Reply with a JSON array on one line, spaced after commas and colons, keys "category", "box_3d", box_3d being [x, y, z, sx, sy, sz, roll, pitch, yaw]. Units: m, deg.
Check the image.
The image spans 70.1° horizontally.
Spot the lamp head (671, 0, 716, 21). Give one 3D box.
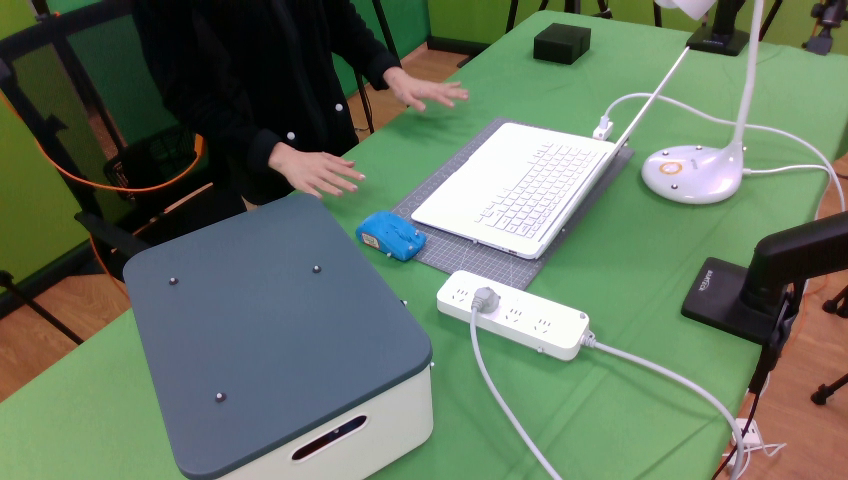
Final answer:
[{"category": "lamp head", "box_3d": [0.375, -0.373, 0.807, 0.122, 0.113, 0.112, -40, 27, 32]}]

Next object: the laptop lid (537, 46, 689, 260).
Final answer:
[{"category": "laptop lid", "box_3d": [0.293, -0.136, 0.927, 0.013, 0.241, 0.357, 35, 51, 10]}]

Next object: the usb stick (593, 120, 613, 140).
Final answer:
[{"category": "usb stick", "box_3d": [0.336, -0.201, 1.146, 0.021, 0.027, 0.059, 26, 53, 27]}]

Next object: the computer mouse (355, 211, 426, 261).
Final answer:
[{"category": "computer mouse", "box_3d": [-0.055, -0.010, 0.979, 0.116, 0.041, 0.063, 27, 49, 29]}]

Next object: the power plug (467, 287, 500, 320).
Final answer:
[{"category": "power plug", "box_3d": [0.073, 0.092, 0.814, 0.035, 0.053, 0.073, 29, 54, 34]}]

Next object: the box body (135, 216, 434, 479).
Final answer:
[{"category": "box body", "box_3d": [-0.175, 0.131, 0.738, 0.255, 0.161, 0.360, -25, 43, -19]}]

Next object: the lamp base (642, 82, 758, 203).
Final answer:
[{"category": "lamp base", "box_3d": [0.464, -0.174, 0.992, 0.179, 0.181, 0.159, -5, 41, -1]}]

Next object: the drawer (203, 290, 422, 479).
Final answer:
[{"category": "drawer", "box_3d": [-0.136, 0.188, 0.740, 0.195, 0.073, 0.210, -24, 52, -22]}]

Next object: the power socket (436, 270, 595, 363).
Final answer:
[{"category": "power socket", "box_3d": [0.118, 0.101, 0.832, 0.225, 0.033, 0.072, 19, 48, 27]}]

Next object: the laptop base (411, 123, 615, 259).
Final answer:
[{"category": "laptop base", "box_3d": [0.168, -0.101, 1.073, 0.234, 0.023, 0.355, 17, 46, 30]}]

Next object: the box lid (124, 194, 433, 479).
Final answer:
[{"category": "box lid", "box_3d": [-0.182, 0.076, 0.689, 0.264, 0.015, 0.368, -24, 42, -20]}]
